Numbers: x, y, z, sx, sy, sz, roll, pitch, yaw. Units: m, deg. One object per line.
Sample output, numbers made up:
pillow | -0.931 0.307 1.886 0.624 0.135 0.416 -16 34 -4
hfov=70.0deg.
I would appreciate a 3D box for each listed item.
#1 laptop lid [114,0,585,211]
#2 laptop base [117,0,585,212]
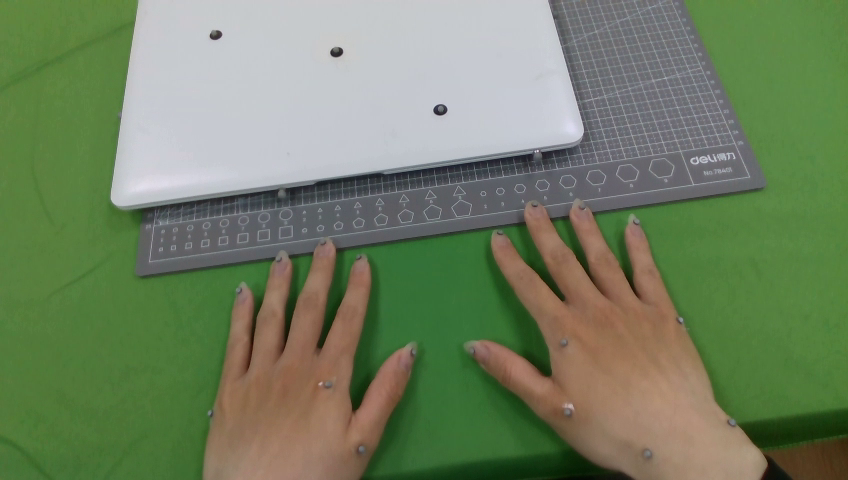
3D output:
laptop lid | -0.068 -0.147 0.491 0.357 0.013 0.239 -7 64 2
laptop base | -0.067 -0.144 0.502 0.354 0.023 0.233 -8 65 1
